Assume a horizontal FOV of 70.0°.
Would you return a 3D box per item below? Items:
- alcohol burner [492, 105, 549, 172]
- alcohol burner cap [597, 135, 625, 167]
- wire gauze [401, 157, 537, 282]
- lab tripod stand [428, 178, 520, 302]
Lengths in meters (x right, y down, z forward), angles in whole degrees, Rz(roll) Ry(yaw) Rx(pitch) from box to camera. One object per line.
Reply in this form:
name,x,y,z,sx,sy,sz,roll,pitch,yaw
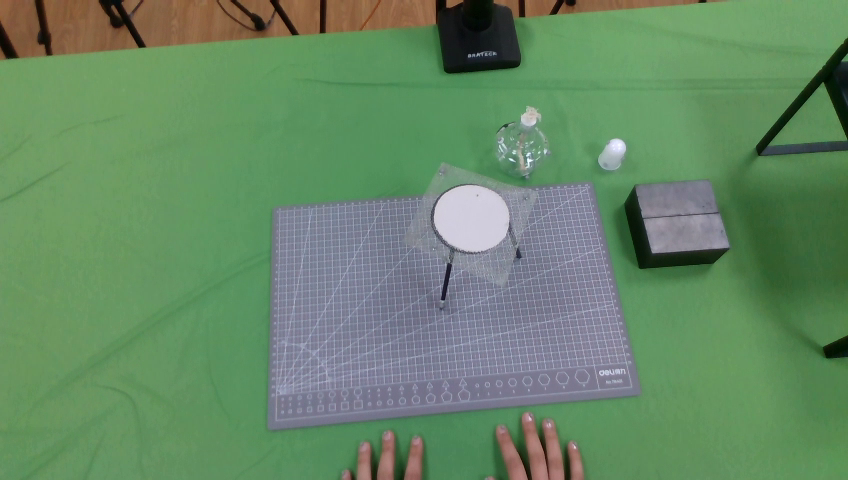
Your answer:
alcohol burner,0.133,-0.144,0.820,0.078,0.120,0.077,1,66,-1
alcohol burner cap,0.265,-0.128,0.852,0.034,0.048,0.033,0,66,1
wire gauze,0.053,-0.028,0.682,0.125,0.011,0.121,22,67,9
lab tripod stand,0.054,-0.007,0.746,0.148,0.132,0.147,0,64,0
